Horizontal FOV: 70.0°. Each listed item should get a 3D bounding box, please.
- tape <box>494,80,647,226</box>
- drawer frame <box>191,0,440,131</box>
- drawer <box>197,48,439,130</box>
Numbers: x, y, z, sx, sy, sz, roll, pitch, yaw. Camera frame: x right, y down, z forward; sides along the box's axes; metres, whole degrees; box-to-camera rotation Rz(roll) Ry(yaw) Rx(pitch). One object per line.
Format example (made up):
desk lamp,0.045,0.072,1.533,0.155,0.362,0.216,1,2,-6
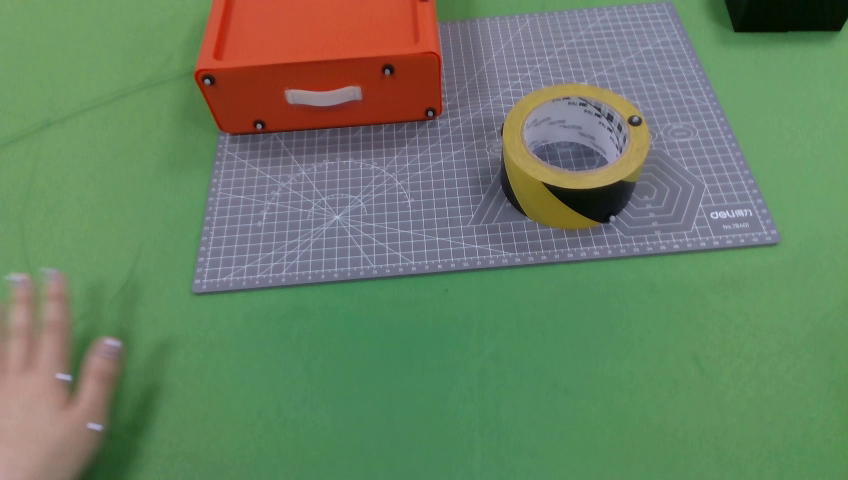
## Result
tape,0.116,-0.069,0.482,0.117,0.053,0.116,-2,57,3
drawer frame,-0.092,-0.208,0.567,0.202,0.083,0.211,-5,56,1
drawer,-0.091,-0.206,0.566,0.194,0.074,0.209,-5,56,1
